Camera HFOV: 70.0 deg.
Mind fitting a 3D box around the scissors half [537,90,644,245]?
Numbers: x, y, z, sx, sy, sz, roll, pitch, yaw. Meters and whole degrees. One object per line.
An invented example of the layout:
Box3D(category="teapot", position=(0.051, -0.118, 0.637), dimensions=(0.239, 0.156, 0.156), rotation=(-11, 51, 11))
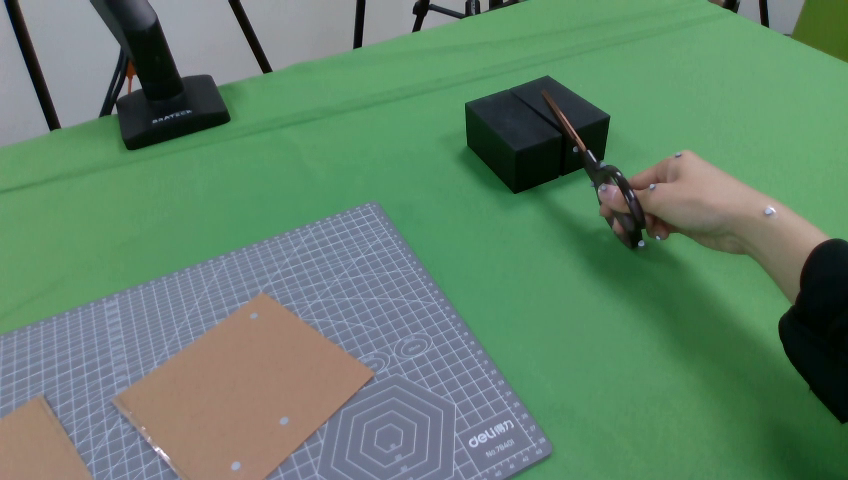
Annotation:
Box3D(category="scissors half", position=(0.140, -0.067, 0.532), dimensions=(0.013, 0.040, 0.173), rotation=(-24, 68, -3))

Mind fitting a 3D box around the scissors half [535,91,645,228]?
Box3D(category="scissors half", position=(0.135, -0.077, 0.515), dimensions=(0.013, 0.040, 0.173), rotation=(-28, 51, 1))

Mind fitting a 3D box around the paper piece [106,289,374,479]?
Box3D(category="paper piece", position=(-0.131, 0.103, 0.436), dimensions=(0.135, 0.009, 0.138), rotation=(32, 53, 29))

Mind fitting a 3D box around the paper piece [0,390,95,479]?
Box3D(category="paper piece", position=(-0.282, 0.173, 0.376), dimensions=(0.135, 0.004, 0.134), rotation=(-35, 50, -29))
